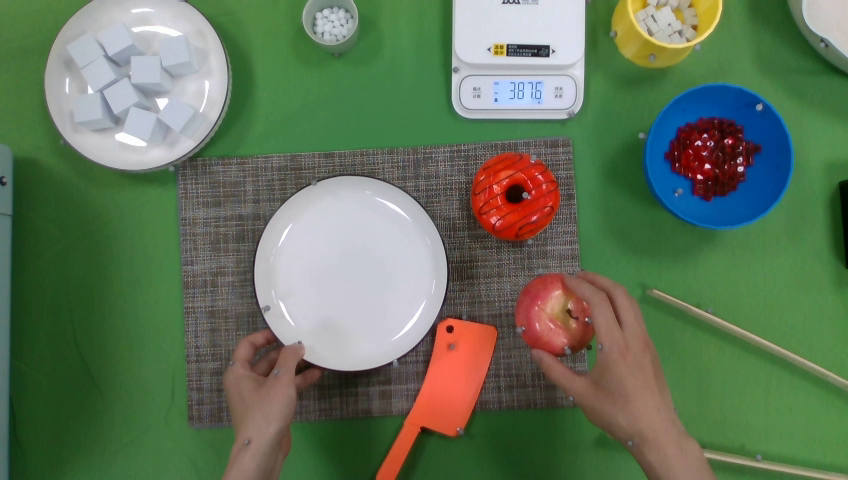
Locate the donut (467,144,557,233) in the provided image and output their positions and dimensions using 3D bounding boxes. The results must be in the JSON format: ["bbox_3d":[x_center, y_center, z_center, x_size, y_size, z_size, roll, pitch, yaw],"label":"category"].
[{"bbox_3d":[0.095,-0.056,0.665,0.099,0.048,0.099,0,89,3],"label":"donut"}]

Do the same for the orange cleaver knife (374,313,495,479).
[{"bbox_3d":[0.012,0.177,0.670,0.077,0.012,0.211,25,86,-4],"label":"orange cleaver knife"}]

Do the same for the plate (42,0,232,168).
[{"bbox_3d":[-0.316,-0.182,0.682,0.208,0.039,0.207,0,88,1],"label":"plate"}]

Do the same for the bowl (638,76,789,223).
[{"bbox_3d":[0.296,-0.090,0.651,0.151,0.077,0.151,0,88,1],"label":"bowl"}]

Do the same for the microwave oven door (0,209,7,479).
[{"bbox_3d":[-0.480,0.137,0.552,0.039,0.244,0.355,-1,87,1],"label":"microwave oven door"}]

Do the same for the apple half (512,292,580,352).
[{"bbox_3d":[0.109,0.086,0.588,0.081,0.081,0.033,41,81,3],"label":"apple half"}]

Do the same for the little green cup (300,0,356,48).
[{"bbox_3d":[-0.105,-0.248,0.681,0.061,0.038,0.061,0,87,1],"label":"little green cup"}]

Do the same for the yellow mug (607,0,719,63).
[{"bbox_3d":[0.250,-0.266,0.663,0.100,0.064,0.130,-36,87,0],"label":"yellow mug"}]

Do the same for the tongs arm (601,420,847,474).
[{"bbox_3d":[0.389,0.220,0.660,0.385,0.026,0.050,12,83,1],"label":"tongs arm"}]

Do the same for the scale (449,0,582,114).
[{"bbox_3d":[0.103,-0.245,0.682,0.148,0.031,0.200,1,88,1],"label":"scale"}]

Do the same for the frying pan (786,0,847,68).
[{"bbox_3d":[0.577,-0.220,0.639,0.307,0.103,0.485,-30,80,1],"label":"frying pan"}]

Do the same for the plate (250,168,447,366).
[{"bbox_3d":[-0.079,0.028,0.649,0.209,0.038,0.209,0,88,3],"label":"plate"}]

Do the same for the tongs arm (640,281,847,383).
[{"bbox_3d":[0.415,0.137,0.667,0.387,0.028,0.028,27,80,2],"label":"tongs arm"}]

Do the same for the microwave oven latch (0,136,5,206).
[{"bbox_3d":[-0.478,-0.077,0.661,0.030,0.029,0.079,1,89,0],"label":"microwave oven latch"}]

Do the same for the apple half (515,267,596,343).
[{"bbox_3d":[0.134,0.056,0.592,0.080,0.075,0.053,40,82,4],"label":"apple half"}]
